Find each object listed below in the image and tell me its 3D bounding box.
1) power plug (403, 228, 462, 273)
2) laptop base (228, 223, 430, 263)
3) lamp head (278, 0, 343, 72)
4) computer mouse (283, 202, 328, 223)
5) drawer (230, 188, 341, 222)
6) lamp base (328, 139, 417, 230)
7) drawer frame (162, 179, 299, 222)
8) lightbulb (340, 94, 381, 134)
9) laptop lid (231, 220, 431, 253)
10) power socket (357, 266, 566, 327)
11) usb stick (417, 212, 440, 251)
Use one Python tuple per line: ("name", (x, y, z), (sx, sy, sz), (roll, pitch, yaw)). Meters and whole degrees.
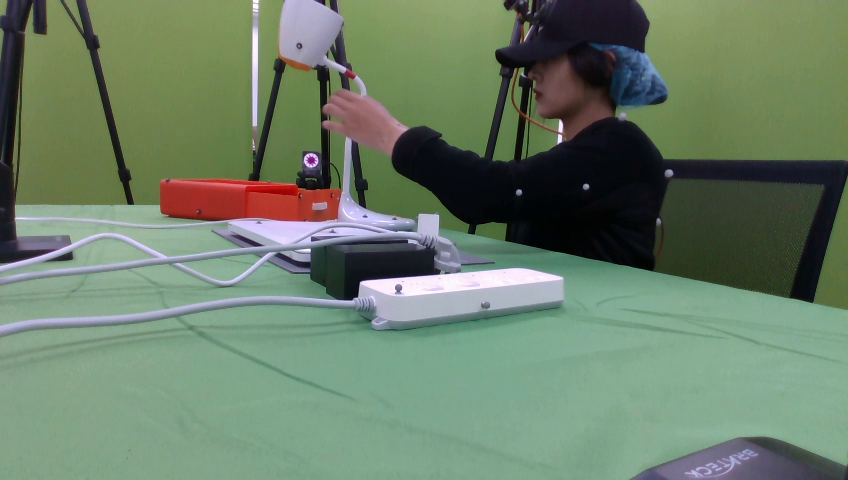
("power plug", (0.006, 0.016, 0.647), (0.073, 0.052, 0.035), (17, 12, -6))
("laptop base", (-0.145, 0.003, 0.943), (0.237, 0.023, 0.352), (1, 6, -32))
("lamp head", (-0.218, -0.376, 1.125), (0.112, 0.123, 0.112), (17, 10, -3))
("computer mouse", (-0.251, -0.060, 1.287), (0.063, 0.041, 0.117), (3, 4, 11))
("drawer", (-0.312, -0.078, 1.296), (0.211, 0.073, 0.195), (4, 9, 17))
("lamp base", (-0.104, -0.113, 1.213), (0.180, 0.180, 0.160), (-2, 6, -14))
("drawer frame", (-0.418, -0.089, 1.329), (0.213, 0.082, 0.202), (4, 8, 18))
("lightbulb", (-0.128, -0.258, 1.254), (0.059, 0.059, 0.108), (10, -22, 46))
("laptop lid", (-0.142, -0.009, 0.942), (0.243, 0.013, 0.355), (1, 7, -31))
("power socket", (0.042, 0.049, 0.573), (0.228, 0.032, 0.072), (-3, 8, -34))
("usb stick", (0.005, -0.003, 0.721), (0.027, 0.059, 0.021), (0, -3, -3))
